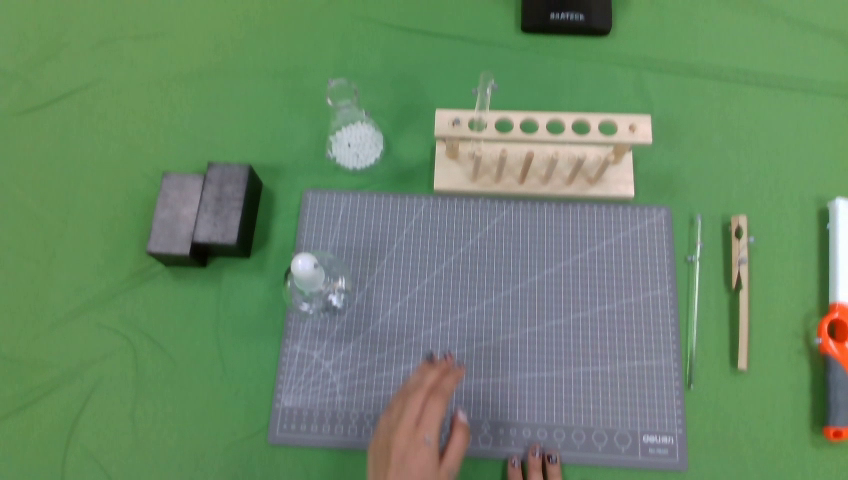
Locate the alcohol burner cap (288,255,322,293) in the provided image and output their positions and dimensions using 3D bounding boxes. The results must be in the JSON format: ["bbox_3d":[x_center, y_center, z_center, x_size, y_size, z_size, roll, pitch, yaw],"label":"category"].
[{"bbox_3d":[-0.124,0.032,0.625,0.034,0.048,0.033,1,67,-2],"label":"alcohol burner cap"}]

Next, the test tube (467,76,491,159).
[{"bbox_3d":[0.060,-0.133,0.681,0.017,0.151,0.017,0,68,0],"label":"test tube"}]

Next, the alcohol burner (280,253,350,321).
[{"bbox_3d":[-0.123,0.046,0.658,0.078,0.120,0.077,-1,70,3],"label":"alcohol burner"}]

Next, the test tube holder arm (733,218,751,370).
[{"bbox_3d":[0.364,0.059,0.695,0.013,0.015,0.177,-10,66,37],"label":"test tube holder arm"}]

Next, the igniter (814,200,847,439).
[{"bbox_3d":[0.466,0.084,0.680,0.057,0.025,0.275,14,72,-4],"label":"igniter"}]

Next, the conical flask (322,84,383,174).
[{"bbox_3d":[-0.090,-0.135,0.718,0.075,0.122,0.075,0,71,1],"label":"conical flask"}]

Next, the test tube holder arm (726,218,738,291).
[{"bbox_3d":[0.363,0.017,0.712,0.010,0.015,0.087,-8,67,38],"label":"test tube holder arm"}]

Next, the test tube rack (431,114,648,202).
[{"bbox_3d":[0.131,-0.096,0.720,0.242,0.086,0.066,2,71,2],"label":"test tube rack"}]

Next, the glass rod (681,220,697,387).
[{"bbox_3d":[0.306,0.070,0.699,0.008,0.008,0.198,10,74,4],"label":"glass rod"}]
